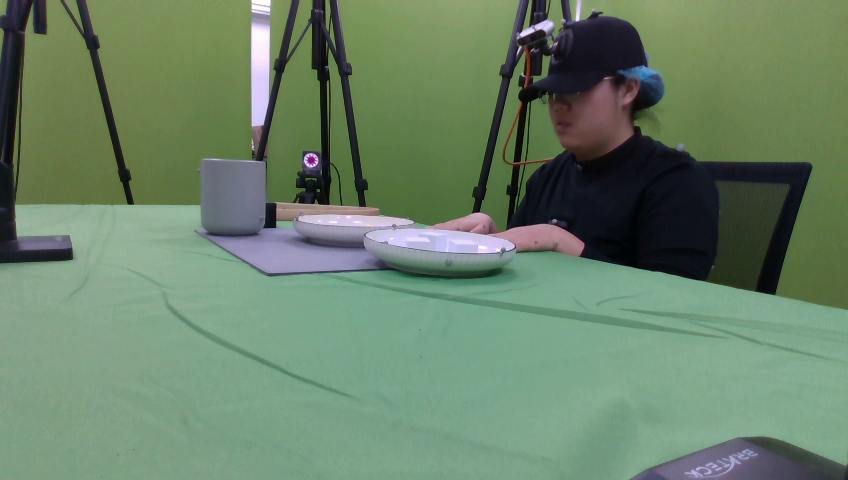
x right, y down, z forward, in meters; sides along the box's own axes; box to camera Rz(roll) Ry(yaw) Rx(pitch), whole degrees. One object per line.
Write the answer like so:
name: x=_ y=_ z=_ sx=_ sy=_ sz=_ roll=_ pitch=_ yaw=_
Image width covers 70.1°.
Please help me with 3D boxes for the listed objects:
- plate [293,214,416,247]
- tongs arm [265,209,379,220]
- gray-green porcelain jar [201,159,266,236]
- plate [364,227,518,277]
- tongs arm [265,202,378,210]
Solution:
plate: x=-0.118 y=-0.017 z=1.024 sx=0.208 sy=0.039 sz=0.207 roll=2 pitch=7 yaw=0
tongs arm: x=-0.277 y=-0.057 z=1.341 sx=0.389 sy=0.028 sz=0.028 roll=-1 pitch=6 yaw=-26
gray-green porcelain jar: x=-0.326 y=-0.073 z=1.036 sx=0.106 sy=0.126 sz=0.106 roll=3 pitch=8 yaw=0
plate: x=0.022 y=0.016 z=0.817 sx=0.209 sy=0.038 sz=0.209 roll=3 pitch=9 yaw=0
tongs arm: x=-0.299 y=-0.072 z=1.417 sx=0.386 sy=0.026 sz=0.050 roll=2 pitch=8 yaw=-13
